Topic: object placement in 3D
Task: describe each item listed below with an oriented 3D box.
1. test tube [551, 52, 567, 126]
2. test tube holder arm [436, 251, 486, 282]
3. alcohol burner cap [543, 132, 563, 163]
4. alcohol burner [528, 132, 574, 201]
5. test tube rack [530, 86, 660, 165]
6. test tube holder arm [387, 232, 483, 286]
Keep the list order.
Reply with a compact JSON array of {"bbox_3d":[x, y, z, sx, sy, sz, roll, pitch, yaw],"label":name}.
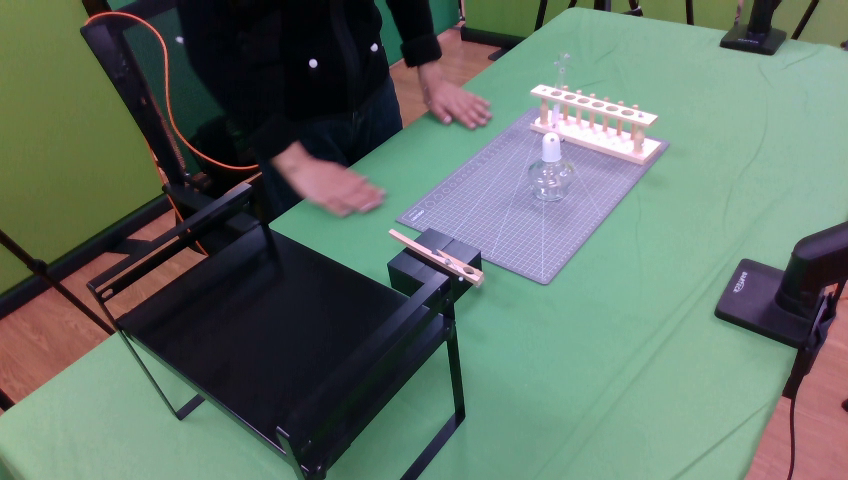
[{"bbox_3d":[0.253,-0.281,1.138,0.017,0.151,0.017,-2,43,2],"label":"test tube"},{"bbox_3d":[0.049,0.037,0.852,0.087,0.015,0.010,25,56,33],"label":"test tube holder arm"},{"bbox_3d":[0.211,-0.154,0.994,0.034,0.048,0.033,-7,35,6],"label":"alcohol burner cap"},{"bbox_3d":[0.214,-0.126,1.016,0.078,0.119,0.077,-5,38,5],"label":"alcohol burner"},{"bbox_3d":[0.320,-0.226,1.140,0.240,0.085,0.067,27,51,34],"label":"test tube rack"},{"bbox_3d":[0.012,0.025,0.874,0.177,0.015,0.013,24,56,33],"label":"test tube holder arm"}]
